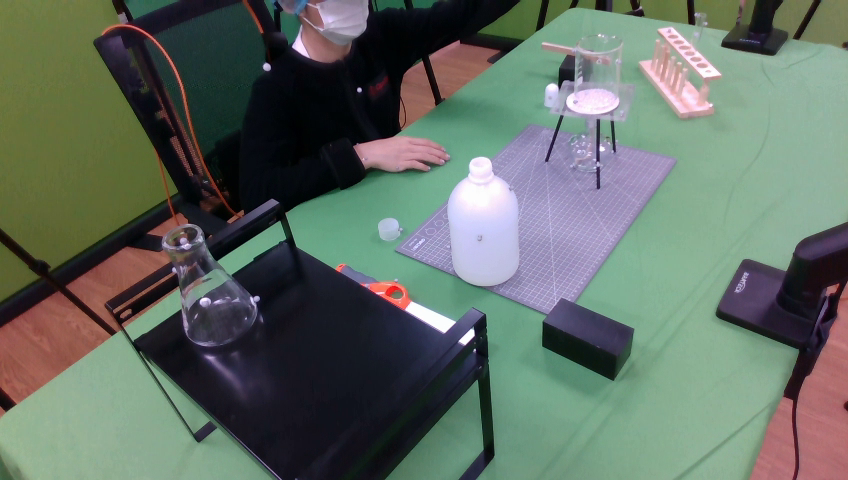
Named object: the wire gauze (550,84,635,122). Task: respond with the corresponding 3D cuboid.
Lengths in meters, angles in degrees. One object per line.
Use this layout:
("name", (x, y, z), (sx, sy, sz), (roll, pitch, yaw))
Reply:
("wire gauze", (0.285, -0.234, 1.021), (0.124, 0.011, 0.121), (8, 41, 24))

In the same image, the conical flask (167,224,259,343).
("conical flask", (-0.220, 0.041, 0.613), (0.075, 0.122, 0.075), (-5, 40, 4))

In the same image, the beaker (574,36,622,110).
("beaker", (0.284, -0.273, 0.990), (0.073, 0.101, 0.084), (15, 46, 27))

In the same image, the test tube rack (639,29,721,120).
("test tube rack", (0.527, -0.351, 1.262), (0.067, 0.085, 0.241), (-8, 40, 1))

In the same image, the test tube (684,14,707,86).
("test tube", (0.541, -0.379, 1.215), (0.017, 0.151, 0.017), (-2, 43, 2))

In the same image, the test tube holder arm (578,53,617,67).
("test tube holder arm", (0.376, -0.393, 1.314), (0.087, 0.015, 0.010), (26, 51, 32))

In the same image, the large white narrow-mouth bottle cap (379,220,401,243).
("large white narrow-mouth bottle cap", (-0.057, -0.015, 1.011), (0.038, 0.024, 0.037), (-4, 40, 4))

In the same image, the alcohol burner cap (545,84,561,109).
("alcohol burner cap", (0.274, -0.307, 1.285), (0.034, 0.048, 0.033), (-5, 42, 5))

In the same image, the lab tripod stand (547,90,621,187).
("lab tripod stand", (0.289, -0.184, 1.062), (0.148, 0.132, 0.147), (-6, 41, 6))

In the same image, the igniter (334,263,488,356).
("igniter", (-0.030, 0.095, 0.872), (0.274, 0.025, 0.057), (23, 59, 31))

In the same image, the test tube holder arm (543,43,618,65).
("test tube holder arm", (0.344, -0.413, 1.341), (0.177, 0.015, 0.013), (25, 51, 31))

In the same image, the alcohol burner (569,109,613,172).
("alcohol burner", (0.297, -0.181, 1.073), (0.078, 0.119, 0.077), (-5, 43, 5))

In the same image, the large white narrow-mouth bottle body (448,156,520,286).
("large white narrow-mouth bottle body", (0.086, -0.032, 0.869), (0.102, 0.195, 0.101), (-4, 40, 4))
